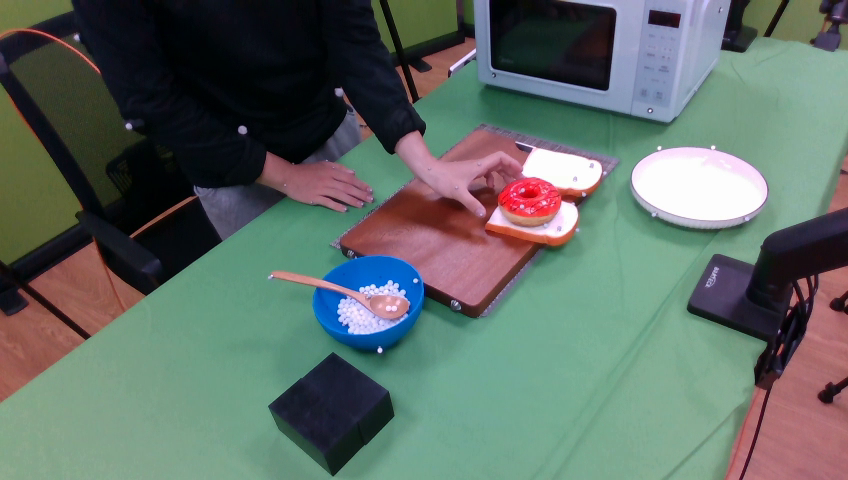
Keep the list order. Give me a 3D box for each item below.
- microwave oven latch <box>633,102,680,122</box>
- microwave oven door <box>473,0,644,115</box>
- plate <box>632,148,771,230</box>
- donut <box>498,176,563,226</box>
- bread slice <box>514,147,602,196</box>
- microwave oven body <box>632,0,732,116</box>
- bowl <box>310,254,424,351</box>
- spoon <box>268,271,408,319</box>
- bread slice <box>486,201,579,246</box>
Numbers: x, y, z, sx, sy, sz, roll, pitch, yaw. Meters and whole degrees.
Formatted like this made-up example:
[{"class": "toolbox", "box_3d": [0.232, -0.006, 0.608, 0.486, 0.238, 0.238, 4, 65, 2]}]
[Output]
[{"class": "microwave oven latch", "box_3d": [0.444, -0.249, 1.157, 0.078, 0.029, 0.030, 21, 49, 30]}, {"class": "microwave oven door", "box_3d": [0.257, -0.396, 1.199, 0.353, 0.245, 0.039, 21, 48, 29]}, {"class": "plate", "box_3d": [0.447, -0.081, 0.988, 0.207, 0.039, 0.206, -4, 40, 4]}, {"class": "donut", "box_3d": [0.164, -0.059, 0.928, 0.099, 0.048, 0.098, -4, 40, 4]}, {"class": "bread slice", "box_3d": [0.233, -0.115, 1.027, 0.133, 0.018, 0.107, 13, 45, 20]}, {"class": "microwave oven body", "box_3d": [0.377, -0.462, 1.267, 0.438, 0.261, 0.327, 21, 48, 30]}, {"class": "bowl", "box_3d": [-0.071, 0.098, 0.821, 0.151, 0.077, 0.150, -4, 40, 4]}, {"class": "spoon", "box_3d": [-0.116, 0.069, 0.813, 0.194, 0.021, 0.041, 18, 39, 1]}, {"class": "bread slice", "box_3d": [0.176, -0.038, 0.946, 0.131, 0.019, 0.105, 16, 47, 23]}]
